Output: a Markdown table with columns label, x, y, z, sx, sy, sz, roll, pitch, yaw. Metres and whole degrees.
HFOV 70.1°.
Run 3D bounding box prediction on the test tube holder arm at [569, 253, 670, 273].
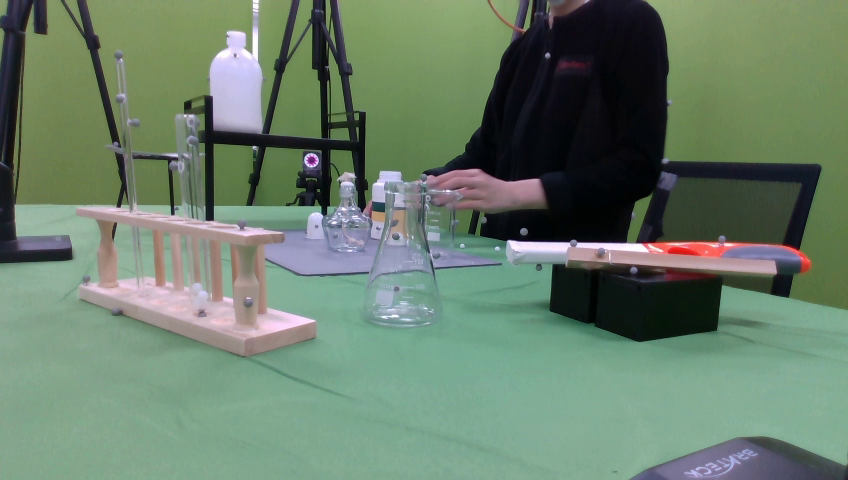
| label | x | y | z | sx | sy | sz | roll | pitch | yaw |
| --- | --- | --- | --- | --- | --- | --- | --- | --- | --- |
| test tube holder arm | 0.172 | 0.019 | 0.532 | 0.088 | 0.015 | 0.010 | 3 | -23 | 3 |

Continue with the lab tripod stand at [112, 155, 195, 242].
| label | x | y | z | sx | sy | sz | roll | pitch | yaw |
| --- | --- | --- | --- | --- | --- | --- | --- | --- | --- |
| lab tripod stand | -0.405 | -0.064 | 0.931 | 0.148 | 0.131 | 0.148 | 1 | 6 | 0 |

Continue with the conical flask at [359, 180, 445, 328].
| label | x | y | z | sx | sy | sz | roll | pitch | yaw |
| --- | --- | --- | --- | --- | --- | --- | --- | --- | --- |
| conical flask | -0.017 | 0.010 | 0.522 | 0.075 | 0.122 | 0.075 | 2 | 7 | 0 |

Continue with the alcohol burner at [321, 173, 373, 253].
| label | x | y | z | sx | sy | sz | roll | pitch | yaw |
| --- | --- | --- | --- | --- | --- | --- | --- | --- | --- |
| alcohol burner | -0.115 | -0.041 | 0.905 | 0.078 | 0.119 | 0.078 | 1 | 6 | 0 |

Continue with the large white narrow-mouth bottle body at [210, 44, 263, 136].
| label | x | y | z | sx | sy | sz | roll | pitch | yaw |
| --- | --- | --- | --- | --- | --- | --- | --- | --- | --- |
| large white narrow-mouth bottle body | -0.369 | -0.305 | 1.194 | 0.102 | 0.194 | 0.102 | 3 | 8 | 0 |

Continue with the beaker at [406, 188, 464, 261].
| label | x | y | z | sx | sy | sz | roll | pitch | yaw |
| --- | --- | --- | --- | --- | --- | --- | --- | --- | --- |
| beaker | 0.014 | -0.023 | 0.870 | 0.084 | 0.100 | 0.074 | 3 | 8 | -4 |

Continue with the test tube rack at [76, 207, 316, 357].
| label | x | y | z | sx | sy | sz | roll | pitch | yaw |
| --- | --- | --- | --- | --- | --- | --- | --- | --- | --- |
| test tube rack | -0.196 | 0.023 | 0.499 | 0.241 | 0.085 | 0.067 | 8 | 9 | 36 |

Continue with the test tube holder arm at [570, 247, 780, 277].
| label | x | y | z | sx | sy | sz | roll | pitch | yaw |
| --- | --- | --- | --- | --- | --- | --- | --- | --- | --- |
| test tube holder arm | 0.217 | 0.019 | 0.525 | 0.178 | 0.015 | 0.013 | 3 | -23 | 3 |

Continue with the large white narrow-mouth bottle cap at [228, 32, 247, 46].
| label | x | y | z | sx | sy | sz | roll | pitch | yaw |
| --- | --- | --- | --- | --- | --- | --- | --- | --- | --- |
| large white narrow-mouth bottle cap | -0.364 | -0.390 | 1.180 | 0.038 | 0.024 | 0.037 | 3 | 8 | 0 |

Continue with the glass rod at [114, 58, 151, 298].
| label | x | y | z | sx | sy | sz | roll | pitch | yaw |
| --- | --- | --- | --- | --- | --- | --- | --- | --- | --- |
| glass rod | -0.236 | -0.044 | 0.492 | 0.008 | 0.199 | 0.008 | 0 | 15 | 0 |

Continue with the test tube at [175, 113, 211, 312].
| label | x | y | z | sx | sy | sz | roll | pitch | yaw |
| --- | --- | --- | --- | --- | --- | --- | --- | --- | --- |
| test tube | -0.174 | -0.020 | 0.458 | 0.017 | 0.150 | 0.017 | -3 | 5 | 1 |

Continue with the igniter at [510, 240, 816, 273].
| label | x | y | z | sx | sy | sz | roll | pitch | yaw |
| --- | --- | --- | --- | --- | --- | --- | --- | --- | --- |
| igniter | 0.220 | 0.015 | 0.565 | 0.277 | 0.025 | 0.057 | 2 | 16 | 0 |

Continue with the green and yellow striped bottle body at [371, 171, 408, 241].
| label | x | y | z | sx | sy | sz | roll | pitch | yaw |
| --- | --- | --- | --- | --- | --- | --- | --- | --- | --- |
| green and yellow striped bottle body | -0.060 | -0.061 | 1.059 | 0.063 | 0.119 | 0.063 | 3 | 7 | 0 |

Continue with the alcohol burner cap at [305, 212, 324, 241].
| label | x | y | z | sx | sy | sz | roll | pitch | yaw |
| --- | --- | --- | --- | --- | --- | --- | --- | --- | --- |
| alcohol burner cap | -0.185 | -0.023 | 1.027 | 0.034 | 0.048 | 0.034 | 2 | 7 | 0 |

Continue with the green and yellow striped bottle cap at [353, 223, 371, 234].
| label | x | y | z | sx | sy | sz | roll | pitch | yaw |
| --- | --- | --- | --- | --- | --- | --- | --- | --- | --- |
| green and yellow striped bottle cap | -0.112 | -0.021 | 1.141 | 0.045 | 0.020 | 0.045 | 1 | 3 | 0 |

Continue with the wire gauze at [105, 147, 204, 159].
| label | x | y | z | sx | sy | sz | roll | pitch | yaw |
| --- | --- | --- | --- | --- | --- | --- | --- | --- | --- |
| wire gauze | -0.407 | -0.131 | 0.928 | 0.125 | 0.011 | 0.121 | 2 | 6 | -11 |
